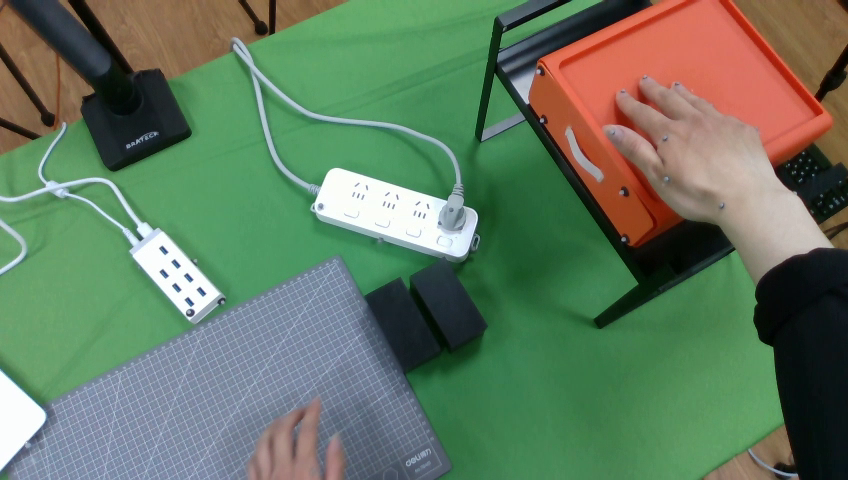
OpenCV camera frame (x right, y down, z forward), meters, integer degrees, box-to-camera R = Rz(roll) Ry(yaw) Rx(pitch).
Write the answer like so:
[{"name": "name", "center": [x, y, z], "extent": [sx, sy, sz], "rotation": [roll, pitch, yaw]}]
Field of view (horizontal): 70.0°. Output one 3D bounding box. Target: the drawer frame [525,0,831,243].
[{"name": "drawer frame", "center": [0.245, -0.135, 0.612], "extent": [0.213, 0.083, 0.200], "rotation": [-29, 74, -11]}]

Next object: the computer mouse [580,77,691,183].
[{"name": "computer mouse", "center": [0.217, -0.117, 0.622], "extent": [0.063, 0.041, 0.116], "rotation": [-33, 73, -6]}]

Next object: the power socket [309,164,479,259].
[{"name": "power socket", "center": [-0.038, -0.038, 0.789], "extent": [0.226, 0.033, 0.072], "rotation": [17, 72, 5]}]

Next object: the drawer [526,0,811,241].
[{"name": "drawer", "center": [0.242, -0.132, 0.612], "extent": [0.212, 0.073, 0.193], "rotation": [-28, 74, -10]}]

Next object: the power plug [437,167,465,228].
[{"name": "power plug", "center": [0.043, -0.049, 0.774], "extent": [0.035, 0.053, 0.072], "rotation": [28, 71, 9]}]

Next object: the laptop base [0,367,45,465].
[{"name": "laptop base", "center": [-0.636, 0.266, 0.685], "extent": [0.235, 0.023, 0.353], "rotation": [37, 75, 7]}]

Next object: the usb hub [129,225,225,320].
[{"name": "usb hub", "center": [-0.312, 0.040, 0.762], "extent": [0.124, 0.025, 0.049], "rotation": [44, 77, 12]}]
